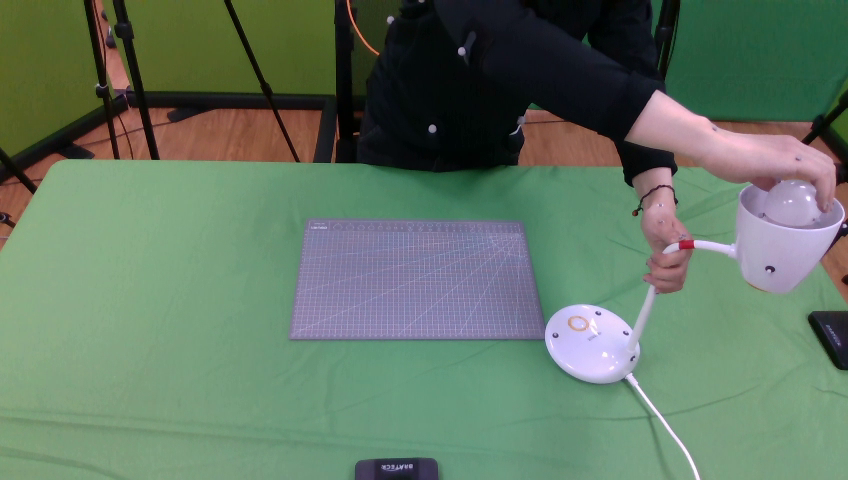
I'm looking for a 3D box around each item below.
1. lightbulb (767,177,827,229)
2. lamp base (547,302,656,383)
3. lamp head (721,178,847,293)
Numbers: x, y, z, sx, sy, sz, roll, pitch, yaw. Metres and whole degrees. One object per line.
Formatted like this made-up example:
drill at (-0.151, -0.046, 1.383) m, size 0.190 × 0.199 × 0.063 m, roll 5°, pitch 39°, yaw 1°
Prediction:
lightbulb at (0.431, -0.023, 0.711) m, size 0.059 × 0.108 × 0.059 m, roll -6°, pitch 35°, yaw 4°
lamp base at (0.304, 0.127, 0.982) m, size 0.160 × 0.181 × 0.178 m, roll -33°, pitch 59°, yaw -29°
lamp head at (0.423, 0.001, 0.726) m, size 0.112 × 0.123 × 0.112 m, roll 0°, pitch 38°, yaw 0°
